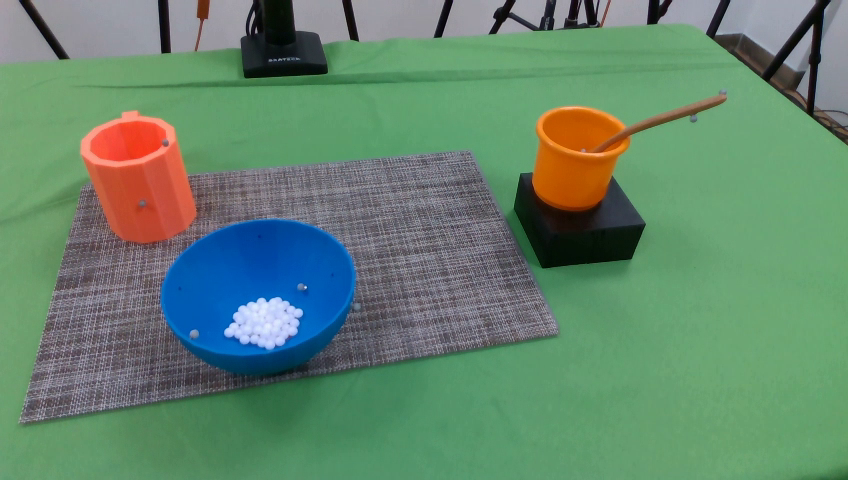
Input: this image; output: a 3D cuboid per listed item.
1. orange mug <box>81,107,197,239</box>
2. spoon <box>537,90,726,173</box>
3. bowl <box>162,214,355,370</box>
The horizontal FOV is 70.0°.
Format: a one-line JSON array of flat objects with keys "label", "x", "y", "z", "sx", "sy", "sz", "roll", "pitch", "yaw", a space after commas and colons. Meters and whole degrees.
[{"label": "orange mug", "x": -0.290, "y": -0.077, "z": 0.622, "sx": 0.084, "sy": 0.101, "sz": 0.125, "roll": -13, "pitch": 51, "yaw": -17}, {"label": "spoon", "x": 0.191, "y": -0.103, "z": 0.586, "sx": 0.022, "sy": 0.193, "sz": 0.041, "roll": 54, "pitch": 46, "yaw": -13}, {"label": "bowl", "x": -0.132, "y": 0.056, "z": 0.510, "sx": 0.151, "sy": 0.077, "sz": 0.150, "roll": 3, "pitch": 43, "yaw": -2}]
